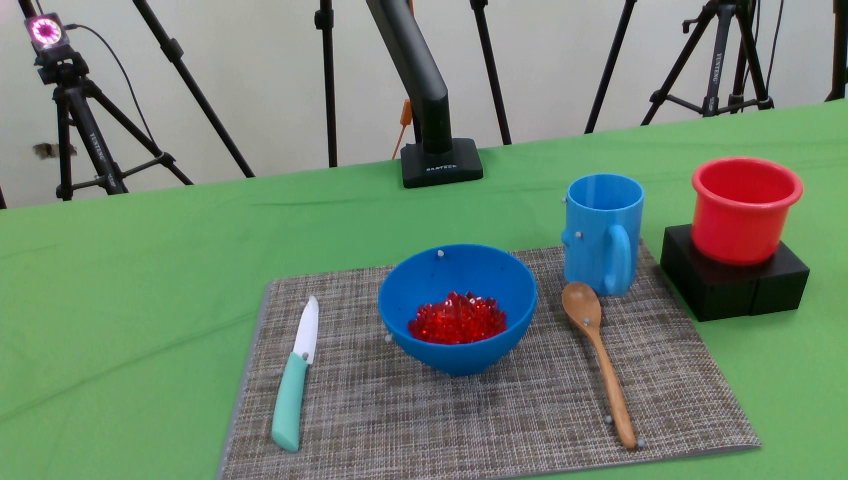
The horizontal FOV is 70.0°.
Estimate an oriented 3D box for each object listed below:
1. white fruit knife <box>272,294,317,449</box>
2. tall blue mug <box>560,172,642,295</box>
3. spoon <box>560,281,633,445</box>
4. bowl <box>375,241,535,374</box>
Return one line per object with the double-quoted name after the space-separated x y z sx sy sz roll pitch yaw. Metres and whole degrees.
-0.127 0.121 0.612 0.027 0.016 0.205 19 31 -15 "white fruit knife"
0.196 -0.001 0.640 0.078 0.109 0.106 -23 38 -22 "tall blue mug"
0.163 0.107 0.570 0.042 0.022 0.192 9 34 -8 "spoon"
0.033 0.076 0.588 0.151 0.077 0.150 -5 35 4 "bowl"
